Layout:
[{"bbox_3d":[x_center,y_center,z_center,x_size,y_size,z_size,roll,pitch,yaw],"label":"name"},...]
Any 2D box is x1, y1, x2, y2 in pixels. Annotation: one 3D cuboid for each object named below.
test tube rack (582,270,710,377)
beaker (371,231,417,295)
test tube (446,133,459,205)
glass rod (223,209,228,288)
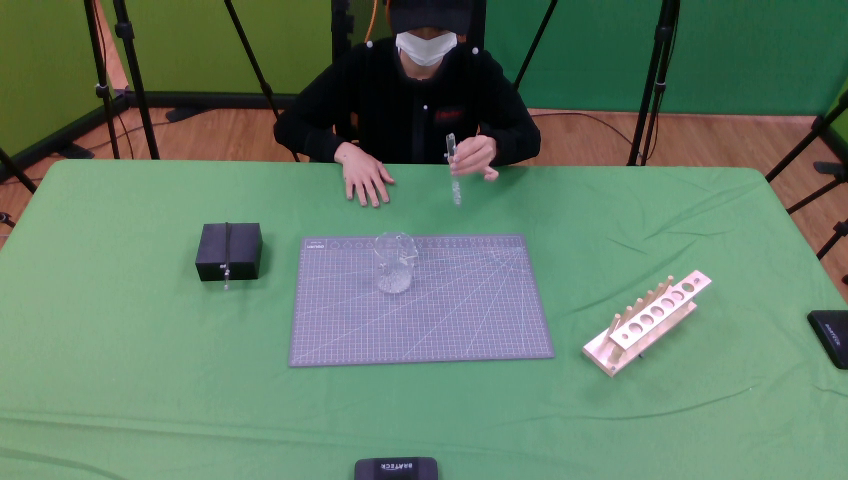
[{"bbox_3d":[0.389,0.132,1.057,0.242,0.085,0.066,-28,54,-28],"label":"test tube rack"},{"bbox_3d":[-0.054,0.045,1.093,0.084,0.101,0.073,17,47,11],"label":"beaker"},{"bbox_3d":[0.052,-0.126,1.096,0.017,0.151,0.017,-4,40,4],"label":"test tube"},{"bbox_3d":[-0.360,0.010,1.098,0.008,0.008,0.198,-7,47,-12],"label":"glass rod"}]
